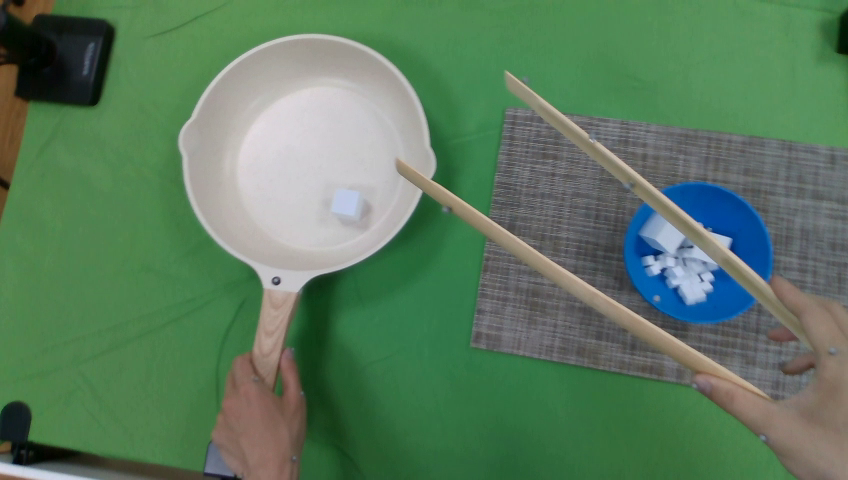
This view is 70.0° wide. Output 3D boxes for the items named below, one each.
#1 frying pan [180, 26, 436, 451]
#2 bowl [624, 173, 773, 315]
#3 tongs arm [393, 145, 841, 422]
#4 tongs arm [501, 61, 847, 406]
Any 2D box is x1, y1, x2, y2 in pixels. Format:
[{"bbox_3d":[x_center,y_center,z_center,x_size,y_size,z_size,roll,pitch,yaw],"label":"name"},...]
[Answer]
[{"bbox_3d":[-0.152,-0.009,0.703,0.306,0.103,0.485,9,74,7],"label":"frying pan"},{"bbox_3d":[0.290,0.009,0.670,0.151,0.077,0.151,-1,82,5],"label":"bowl"},{"bbox_3d":[0.118,0.020,0.473,0.384,0.028,0.028,35,67,24],"label":"tongs arm"},{"bbox_3d":[0.174,-0.027,0.489,0.051,0.027,0.381,-36,62,-13],"label":"tongs arm"}]
